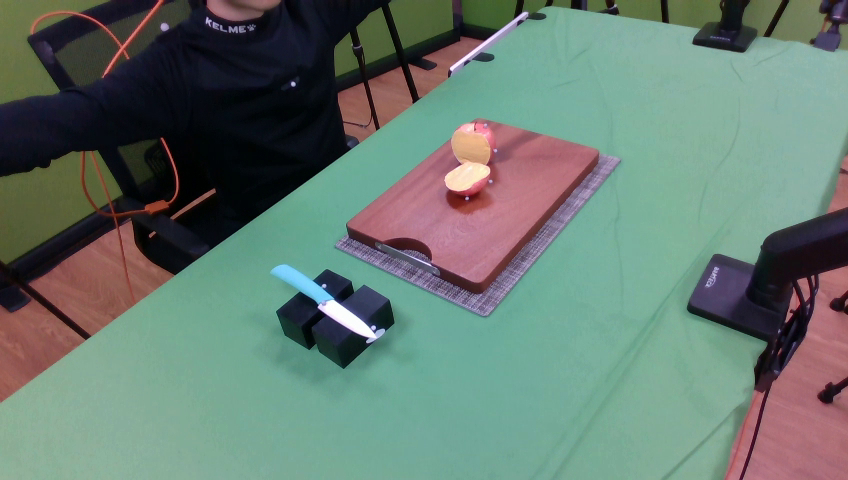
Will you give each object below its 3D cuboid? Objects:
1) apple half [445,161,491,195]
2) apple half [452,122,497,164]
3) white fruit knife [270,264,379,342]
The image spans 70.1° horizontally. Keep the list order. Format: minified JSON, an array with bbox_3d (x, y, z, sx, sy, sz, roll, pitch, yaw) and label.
[{"bbox_3d":[0.076,-0.099,1.020,0.081,0.033,0.081,-16,36,12],"label":"apple half"},{"bbox_3d":[0.095,-0.173,1.073,0.080,0.075,0.053,13,40,28],"label":"apple half"},{"bbox_3d":[-0.136,0.084,0.823,0.206,0.016,0.027,30,65,30],"label":"white fruit knife"}]
